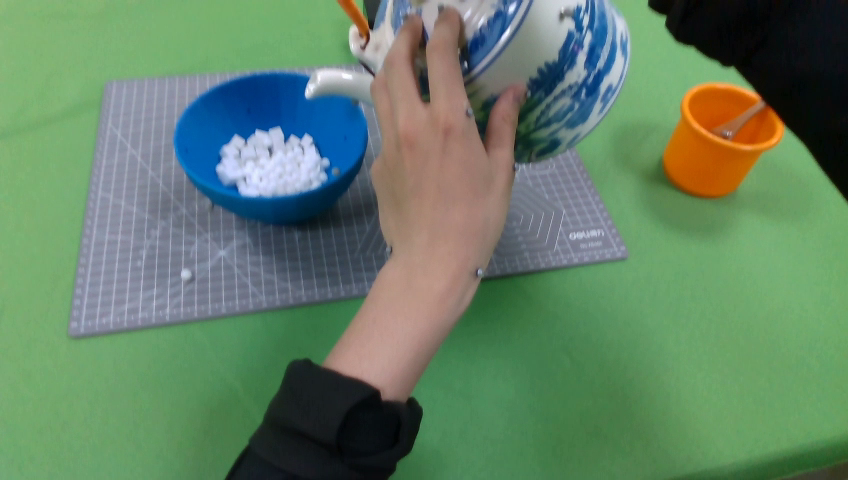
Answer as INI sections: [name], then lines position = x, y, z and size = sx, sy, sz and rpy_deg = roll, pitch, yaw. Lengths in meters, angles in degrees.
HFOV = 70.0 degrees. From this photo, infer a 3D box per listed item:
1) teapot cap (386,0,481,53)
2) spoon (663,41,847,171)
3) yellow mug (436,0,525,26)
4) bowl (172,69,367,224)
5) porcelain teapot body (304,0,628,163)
[teapot cap]
position = 0.004, -0.162, 0.387
size = 0.044, 0.085, 0.084
rpy_deg = 15, 39, -46
[spoon]
position = 0.310, -0.124, 0.554
size = 0.022, 0.194, 0.041
rpy_deg = 26, 37, -44
[yellow mug]
position = 0.057, -0.273, 0.631
size = 0.099, 0.064, 0.130
rpy_deg = 21, 56, 10
[bowl]
position = -0.123, -0.066, 0.509
size = 0.151, 0.077, 0.150
rpy_deg = 3, 52, -3
[porcelain teapot body]
position = 0.011, -0.140, 0.430
size = 0.227, 0.205, 0.144
rpy_deg = 20, 50, -45
